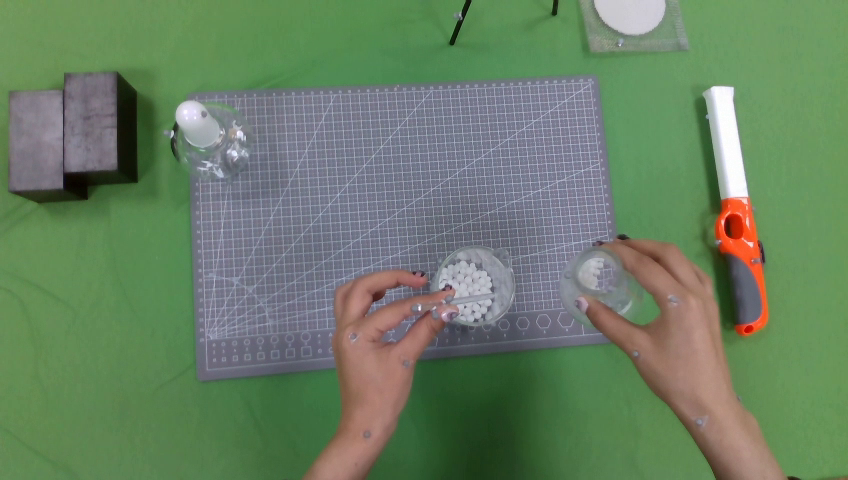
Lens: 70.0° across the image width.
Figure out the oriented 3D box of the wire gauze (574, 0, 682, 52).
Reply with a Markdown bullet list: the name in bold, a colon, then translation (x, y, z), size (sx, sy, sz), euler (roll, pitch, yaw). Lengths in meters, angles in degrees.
- **wire gauze**: translation (0.234, -0.277, 0.704), size (0.125, 0.011, 0.121), euler (-6, 83, -8)

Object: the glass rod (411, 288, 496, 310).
- **glass rod**: translation (0.032, 0.050, 0.521), size (0.008, 0.200, 0.008), euler (0, 88, 23)

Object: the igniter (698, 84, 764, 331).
- **igniter**: translation (0.340, -0.039, 0.672), size (0.057, 0.025, 0.275), euler (-3, 83, -17)

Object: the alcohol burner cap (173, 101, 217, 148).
- **alcohol burner cap**: translation (-0.209, -0.108, 0.549), size (0.034, 0.048, 0.033), euler (2, 75, -6)

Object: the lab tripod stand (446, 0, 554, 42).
- **lab tripod stand**: translation (0.079, -0.283, 0.628), size (0.148, 0.131, 0.148), euler (1, 84, -5)

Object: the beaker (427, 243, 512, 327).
- **beaker**: translation (0.042, 0.045, 0.595), size (0.074, 0.100, 0.084), euler (42, 80, 2)

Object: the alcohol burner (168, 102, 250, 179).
- **alcohol burner**: translation (-0.211, -0.101, 0.584), size (0.078, 0.119, 0.077), euler (0, 83, -3)

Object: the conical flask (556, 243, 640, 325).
- **conical flask**: translation (0.145, 0.031, 0.507), size (0.075, 0.122, 0.075), euler (-3, 79, 16)
